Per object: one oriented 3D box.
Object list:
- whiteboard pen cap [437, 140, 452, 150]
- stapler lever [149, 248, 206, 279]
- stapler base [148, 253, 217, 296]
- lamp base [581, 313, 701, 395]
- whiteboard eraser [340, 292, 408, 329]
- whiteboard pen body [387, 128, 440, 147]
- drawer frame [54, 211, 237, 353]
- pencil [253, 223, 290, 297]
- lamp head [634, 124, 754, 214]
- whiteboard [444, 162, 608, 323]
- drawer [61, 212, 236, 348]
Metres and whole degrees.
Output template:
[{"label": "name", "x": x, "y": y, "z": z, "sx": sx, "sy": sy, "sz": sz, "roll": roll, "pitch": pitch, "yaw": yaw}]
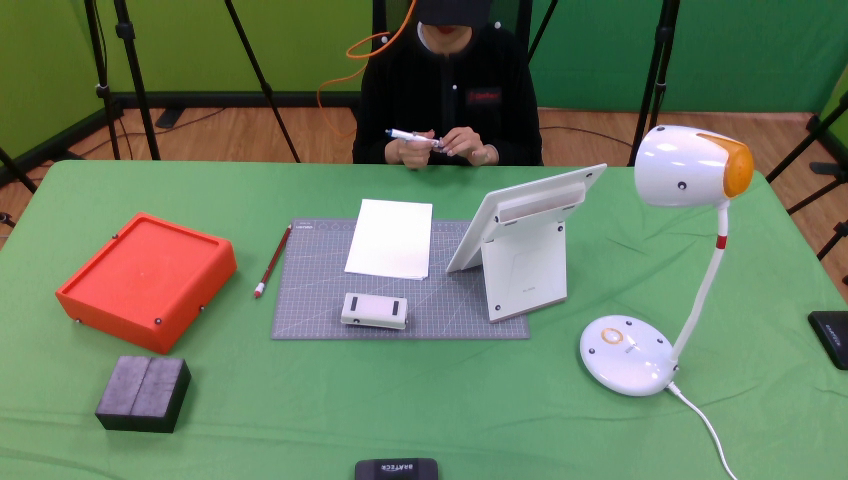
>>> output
[{"label": "whiteboard pen cap", "x": 0.044, "y": -0.207, "z": 1.318, "sx": 0.033, "sy": 0.018, "sz": 0.018, "roll": 12, "pitch": 46, "yaw": -3}, {"label": "stapler lever", "x": -0.443, "y": 0.037, "z": 1.084, "sx": 0.118, "sy": 0.040, "sz": 0.027, "roll": 19, "pitch": 49, "yaw": 17}, {"label": "stapler base", "x": -0.443, "y": 0.059, "z": 1.109, "sx": 0.130, "sy": 0.024, "sz": 0.041, "roll": 24, "pitch": 51, "yaw": 11}, {"label": "lamp base", "x": 0.361, "y": 0.144, "z": 0.973, "sx": 0.178, "sy": 0.181, "sz": 0.160, "roll": 34, "pitch": 53, "yaw": 23}, {"label": "whiteboard eraser", "x": -0.087, "y": 0.125, "z": 1.052, "sx": 0.113, "sy": 0.042, "sz": 0.055, "roll": 5, "pitch": 45, "yaw": 1}, {"label": "whiteboard pen body", "x": -0.011, "y": -0.218, "z": 1.299, "sx": 0.141, "sy": 0.017, "sz": 0.017, "roll": 11, "pitch": 43, "yaw": -20}, {"label": "drawer frame", "x": -0.473, "y": 0.067, "z": 1.055, "sx": 0.201, "sy": 0.083, "sz": 0.212, "roll": 17, "pitch": 48, "yaw": 11}, {"label": "pencil", "x": -0.286, "y": 0.033, "z": 1.150, "sx": 0.012, "sy": 0.012, "sz": 0.193, "roll": 9, "pitch": 46, "yaw": 4}, {"label": "lamp head", "x": 0.351, "y": -0.089, "z": 0.775, "sx": 0.112, "sy": 0.113, "sz": 0.122, "roll": -30, "pitch": 30, "yaw": -28}, {"label": "whiteboard", "x": 0.186, "y": 0.026, "z": 1.028, "sx": 0.217, "sy": 0.306, "sz": 0.143, "roll": -14, "pitch": 68, "yaw": -18}, {"label": "drawer", "x": -0.473, "y": 0.064, "z": 1.060, "sx": 0.194, "sy": 0.073, "sz": 0.211, "roll": 18, "pitch": 48, "yaw": 11}]
